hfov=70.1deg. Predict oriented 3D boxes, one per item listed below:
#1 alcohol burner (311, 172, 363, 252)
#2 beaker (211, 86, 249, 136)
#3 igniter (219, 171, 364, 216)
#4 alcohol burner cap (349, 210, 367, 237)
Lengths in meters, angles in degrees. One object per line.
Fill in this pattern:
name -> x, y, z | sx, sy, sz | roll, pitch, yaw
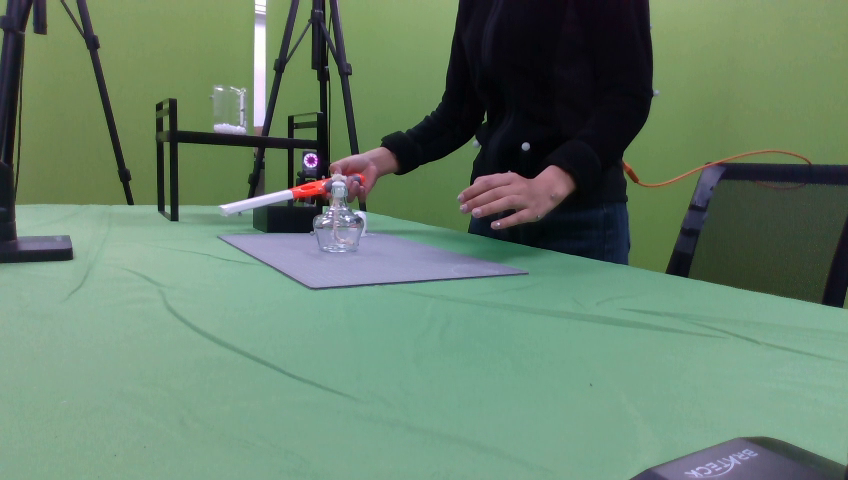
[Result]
alcohol burner -> -0.130, -0.042, 0.906 | 0.078, 0.119, 0.078 | 2, 6, 0
beaker -> -0.413, -0.274, 1.297 | 0.074, 0.100, 0.083 | -5, 11, -44
igniter -> -0.238, -0.089, 1.126 | 0.278, 0.025, 0.057 | -18, 19, -30
alcohol burner cap -> -0.118, -0.030, 1.095 | 0.034, 0.048, 0.034 | 2, 8, 0
